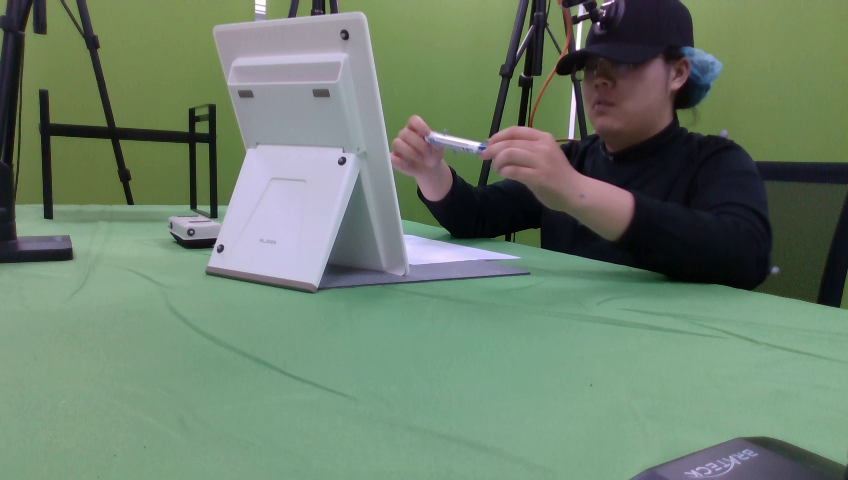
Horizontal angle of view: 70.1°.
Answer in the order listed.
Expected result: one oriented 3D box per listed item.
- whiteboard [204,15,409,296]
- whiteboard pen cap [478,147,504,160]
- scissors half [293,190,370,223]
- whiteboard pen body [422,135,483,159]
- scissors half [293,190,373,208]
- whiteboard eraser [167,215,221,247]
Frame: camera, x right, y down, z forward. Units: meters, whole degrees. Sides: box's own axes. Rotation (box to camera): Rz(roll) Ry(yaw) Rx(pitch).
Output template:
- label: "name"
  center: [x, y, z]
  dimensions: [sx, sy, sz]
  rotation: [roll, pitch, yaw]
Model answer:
- label: "whiteboard"
  center: [-0.166, -0.072, 0.669]
  dimensions: [0.216, 0.305, 0.144]
  rotation: [8, 30, 30]
- label: "whiteboard pen cap"
  center: [0.087, -0.114, 0.793]
  dimensions: [0.018, 0.018, 0.033]
  rotation: [-5, 13, -45]
- label: "scissors half"
  center: [-0.205, -0.078, 1.338]
  dimensions: [0.175, 0.040, 0.013]
  rotation: [22, 11, -8]
- label: "whiteboard pen body"
  center: [0.048, -0.127, 0.834]
  dimensions: [0.017, 0.017, 0.140]
  rotation: [-4, 19, -43]
- label: "scissors half"
  center: [-0.201, -0.096, 1.333]
  dimensions: [0.175, 0.040, 0.013]
  rotation: [5, 18, -4]
- label: "whiteboard eraser"
  center: [-0.350, -0.014, 0.920]
  dimensions: [0.056, 0.042, 0.112]
  rotation: [0, 7, -35]
